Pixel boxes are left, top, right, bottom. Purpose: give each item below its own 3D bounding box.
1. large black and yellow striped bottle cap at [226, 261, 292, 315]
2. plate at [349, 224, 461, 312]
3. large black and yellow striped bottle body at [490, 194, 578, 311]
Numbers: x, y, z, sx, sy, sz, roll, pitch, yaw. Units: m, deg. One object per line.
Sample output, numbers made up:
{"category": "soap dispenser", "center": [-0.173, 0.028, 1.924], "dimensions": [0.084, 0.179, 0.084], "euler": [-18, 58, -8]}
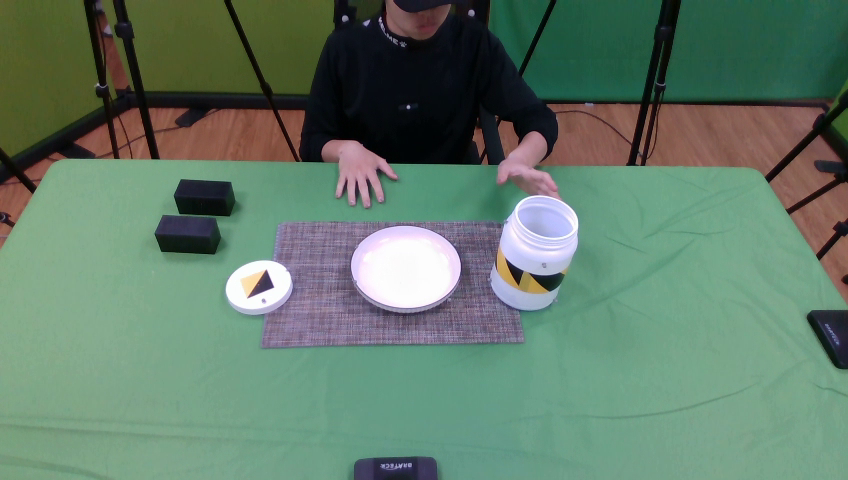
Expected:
{"category": "large black and yellow striped bottle cap", "center": [-0.298, 0.085, 1.092], "dimensions": [0.115, 0.019, 0.114], "euler": [0, 45, 1]}
{"category": "plate", "center": [-0.035, 0.054, 1.126], "dimensions": [0.208, 0.039, 0.206], "euler": [2, 46, -2]}
{"category": "large black and yellow striped bottle body", "center": [0.195, 0.022, 1.073], "dimensions": [0.131, 0.185, 0.130], "euler": [4, 46, -4]}
